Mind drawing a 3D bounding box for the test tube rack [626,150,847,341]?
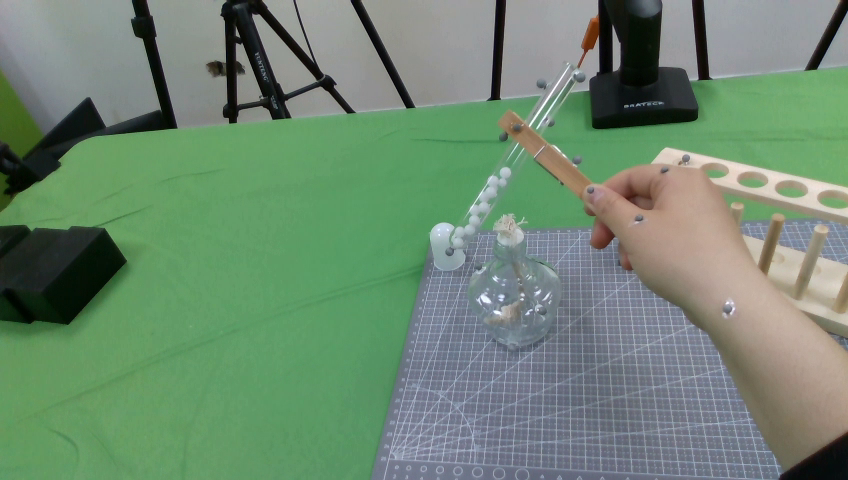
[{"bbox_3d":[0.287,0.008,0.472,0.240,0.086,0.066,22,51,36],"label":"test tube rack"}]

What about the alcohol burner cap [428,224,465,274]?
[{"bbox_3d":[0.020,0.005,0.586,0.034,0.048,0.033,-7,41,6],"label":"alcohol burner cap"}]

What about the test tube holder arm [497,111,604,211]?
[{"bbox_3d":[0.085,-0.053,0.407,0.087,0.015,0.010,44,20,9],"label":"test tube holder arm"}]

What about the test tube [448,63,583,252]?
[{"bbox_3d":[0.061,-0.054,0.422,0.150,0.017,0.017,-57,40,16],"label":"test tube"}]

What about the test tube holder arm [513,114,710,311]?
[{"bbox_3d":[0.117,-0.022,0.402,0.177,0.015,0.013,47,21,16],"label":"test tube holder arm"}]

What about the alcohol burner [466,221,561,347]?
[{"bbox_3d":[0.070,0.031,0.485,0.078,0.120,0.077,-7,41,6],"label":"alcohol burner"}]
